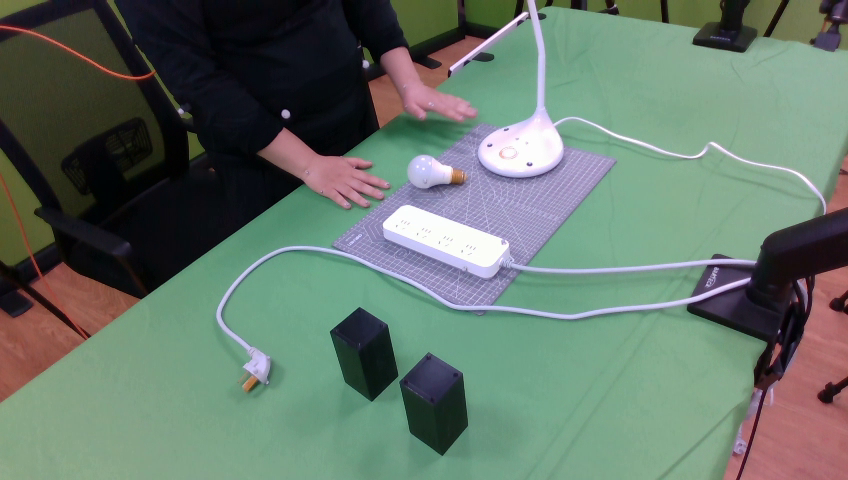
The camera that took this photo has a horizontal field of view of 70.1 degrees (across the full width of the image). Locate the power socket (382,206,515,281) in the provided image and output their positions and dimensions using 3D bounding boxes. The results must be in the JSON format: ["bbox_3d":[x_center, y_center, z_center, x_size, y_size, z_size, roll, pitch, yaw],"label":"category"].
[{"bbox_3d":[0.032,0.002,0.950,0.225,0.033,0.072,21,49,29],"label":"power socket"}]

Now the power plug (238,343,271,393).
[{"bbox_3d":[-0.230,0.172,0.800,0.072,0.035,0.053,8,50,49],"label":"power plug"}]

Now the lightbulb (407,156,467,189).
[{"bbox_3d":[0.023,-0.117,1.080,0.108,0.059,0.059,7,40,-6],"label":"lightbulb"}]

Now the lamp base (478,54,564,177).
[{"bbox_3d":[0.180,-0.232,1.090,0.159,0.181,0.180,21,45,30],"label":"lamp base"}]
